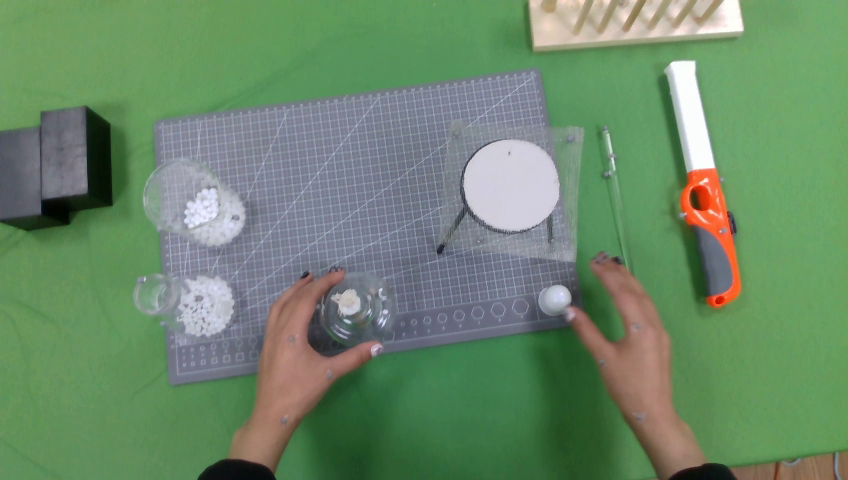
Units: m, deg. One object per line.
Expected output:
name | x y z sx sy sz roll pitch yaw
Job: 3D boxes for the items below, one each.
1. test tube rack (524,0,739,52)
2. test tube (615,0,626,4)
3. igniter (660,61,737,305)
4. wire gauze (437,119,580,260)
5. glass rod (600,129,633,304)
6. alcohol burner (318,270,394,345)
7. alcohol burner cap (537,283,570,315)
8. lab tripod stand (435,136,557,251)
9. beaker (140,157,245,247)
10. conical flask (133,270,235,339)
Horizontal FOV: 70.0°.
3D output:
test tube rack | 0.241 -0.271 0.678 0.242 0.085 0.066 -4 79 0
test tube | 0.222 -0.293 0.632 0.017 0.151 0.017 -1 79 4
igniter | 0.302 -0.067 0.669 0.057 0.025 0.275 -5 79 -10
wire gauze | 0.077 -0.048 0.543 0.125 0.011 0.121 6 81 3
glass rod | 0.213 -0.028 0.672 0.008 0.008 0.199 -7 82 -1
alcohol burner | -0.070 0.066 0.603 0.078 0.119 0.077 0 80 3
alcohol burner cap | 0.138 0.060 0.637 0.034 0.048 0.033 0 78 1
lab tripod stand | 0.075 -0.036 0.609 0.148 0.132 0.148 0 81 1
beaker | -0.232 -0.033 0.631 0.084 0.100 0.074 28 81 6
conical flask | -0.242 0.059 0.602 0.075 0.122 0.075 0 79 1
